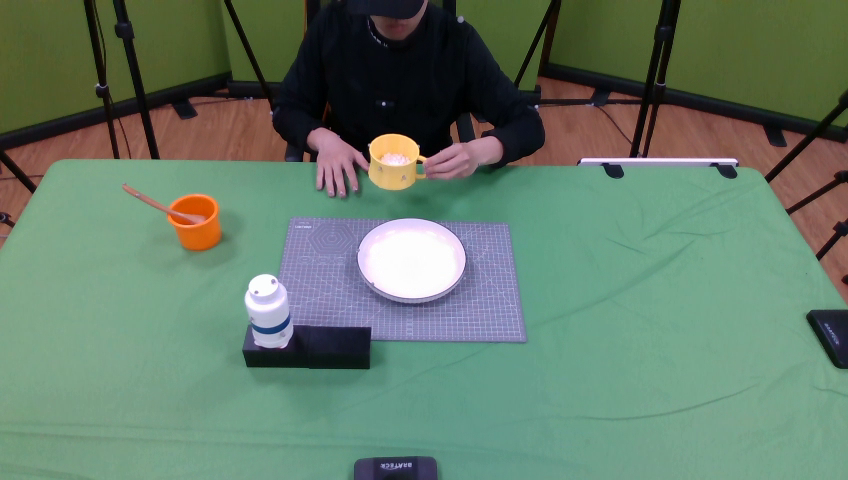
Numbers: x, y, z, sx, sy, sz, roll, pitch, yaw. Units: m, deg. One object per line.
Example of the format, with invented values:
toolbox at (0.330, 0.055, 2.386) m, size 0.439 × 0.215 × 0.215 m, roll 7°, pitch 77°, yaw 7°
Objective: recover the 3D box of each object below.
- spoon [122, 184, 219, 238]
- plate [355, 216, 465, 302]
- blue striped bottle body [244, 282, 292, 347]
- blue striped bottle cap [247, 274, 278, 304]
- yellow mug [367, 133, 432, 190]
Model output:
spoon at (-0.463, -0.053, 1.117) m, size 0.195 × 0.021 × 0.041 m, roll 28°, pitch 37°, yaw -35°
plate at (-0.027, 0.039, 1.144) m, size 0.208 × 0.039 × 0.206 m, roll 2°, pitch 46°, yaw -2°
blue striped bottle body at (-0.241, 0.108, 0.937) m, size 0.063 × 0.121 × 0.062 m, roll 2°, pitch 46°, yaw -2°
blue striped bottle cap at (-0.240, 0.072, 0.900) m, size 0.044 × 0.021 × 0.044 m, roll 4°, pitch 46°, yaw -4°
yellow mug at (-0.048, -0.156, 1.216) m, size 0.131 × 0.064 × 0.099 m, roll 11°, pitch 48°, yaw 2°
